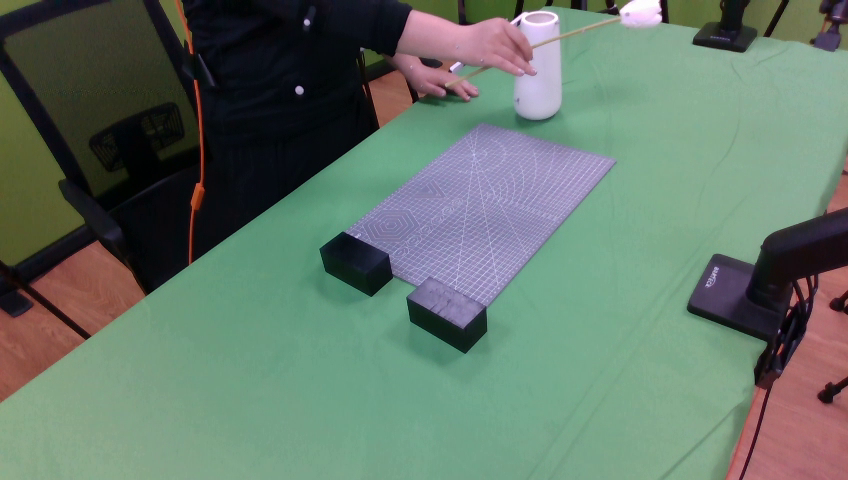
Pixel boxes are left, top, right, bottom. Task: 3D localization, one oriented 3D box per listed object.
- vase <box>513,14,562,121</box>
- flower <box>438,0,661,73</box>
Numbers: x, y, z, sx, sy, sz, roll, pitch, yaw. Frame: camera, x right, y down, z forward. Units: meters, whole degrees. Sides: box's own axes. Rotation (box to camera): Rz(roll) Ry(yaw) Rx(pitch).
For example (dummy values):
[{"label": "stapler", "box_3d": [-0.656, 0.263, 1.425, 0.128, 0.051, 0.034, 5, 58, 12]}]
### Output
[{"label": "vase", "box_3d": [0.225, -0.336, 1.196, 0.098, 0.201, 0.097, -5, 42, 5]}, {"label": "flower", "box_3d": [0.191, -0.318, 0.972, 0.360, 0.044, 0.038, -10, 0, 20]}]
